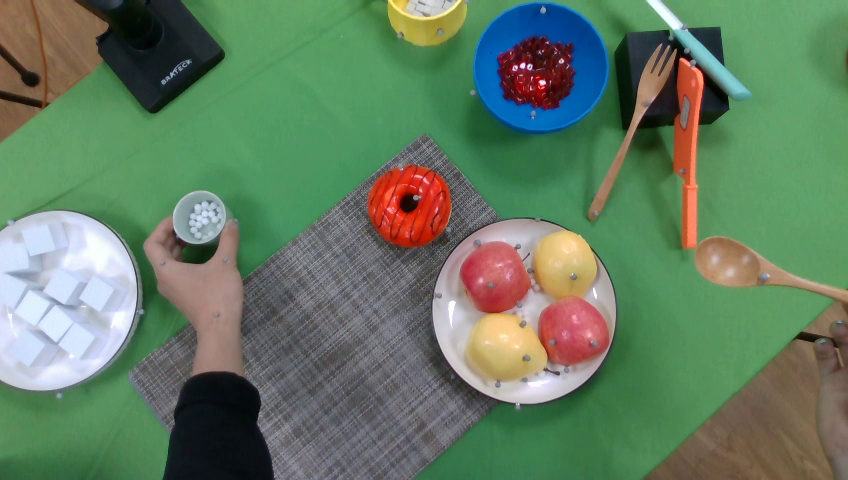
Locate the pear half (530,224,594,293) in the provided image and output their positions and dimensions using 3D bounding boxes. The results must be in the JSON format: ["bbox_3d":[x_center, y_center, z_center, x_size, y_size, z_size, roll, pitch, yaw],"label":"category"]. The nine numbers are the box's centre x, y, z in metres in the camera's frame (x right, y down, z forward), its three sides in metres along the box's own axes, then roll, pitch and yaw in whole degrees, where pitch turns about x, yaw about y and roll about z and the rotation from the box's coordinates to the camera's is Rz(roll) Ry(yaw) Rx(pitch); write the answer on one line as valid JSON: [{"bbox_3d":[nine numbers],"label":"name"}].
[{"bbox_3d":[0.153,0.027,0.678,0.070,0.031,0.088,-11,93,23],"label":"pear half"}]

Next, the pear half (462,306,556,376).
[{"bbox_3d":[0.100,0.118,0.668,0.110,0.056,0.076,23,88,-3],"label":"pear half"}]

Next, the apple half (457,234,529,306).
[{"bbox_3d":[0.077,0.034,0.675,0.074,0.053,0.080,-23,86,-1],"label":"apple half"}]

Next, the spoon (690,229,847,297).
[{"bbox_3d":[0.314,0.034,0.487,0.192,0.022,0.041,19,81,22],"label":"spoon"}]

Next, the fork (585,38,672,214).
[{"bbox_3d":[0.228,-0.125,0.689,0.028,0.018,0.208,19,104,-5],"label":"fork"}]

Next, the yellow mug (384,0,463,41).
[{"bbox_3d":[-0.017,-0.306,0.728,0.131,0.064,0.099,17,83,4],"label":"yellow mug"}]

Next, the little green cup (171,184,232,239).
[{"bbox_3d":[-0.254,-0.030,0.699,0.061,0.039,0.061,-1,78,6],"label":"little green cup"}]

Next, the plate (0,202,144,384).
[{"bbox_3d":[-0.424,0.060,0.703,0.207,0.039,0.207,0,83,1],"label":"plate"}]

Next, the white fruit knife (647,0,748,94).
[{"bbox_3d":[0.290,-0.242,0.689,0.027,0.016,0.206,-34,80,-32],"label":"white fruit knife"}]

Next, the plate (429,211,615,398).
[{"bbox_3d":[0.109,0.071,0.687,0.209,0.038,0.208,0,82,1],"label":"plate"}]

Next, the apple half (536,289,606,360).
[{"bbox_3d":[0.157,0.095,0.666,0.081,0.033,0.081,2,96,21],"label":"apple half"}]

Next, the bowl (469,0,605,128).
[{"bbox_3d":[0.126,-0.194,0.705,0.151,0.077,0.151,0,83,1],"label":"bowl"}]

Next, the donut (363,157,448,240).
[{"bbox_3d":[-0.021,-0.048,0.702,0.099,0.048,0.099,0,85,3],"label":"donut"}]

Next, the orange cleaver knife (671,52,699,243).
[{"bbox_3d":[0.293,-0.103,0.687,0.012,0.077,0.212,-4,108,6],"label":"orange cleaver knife"}]
